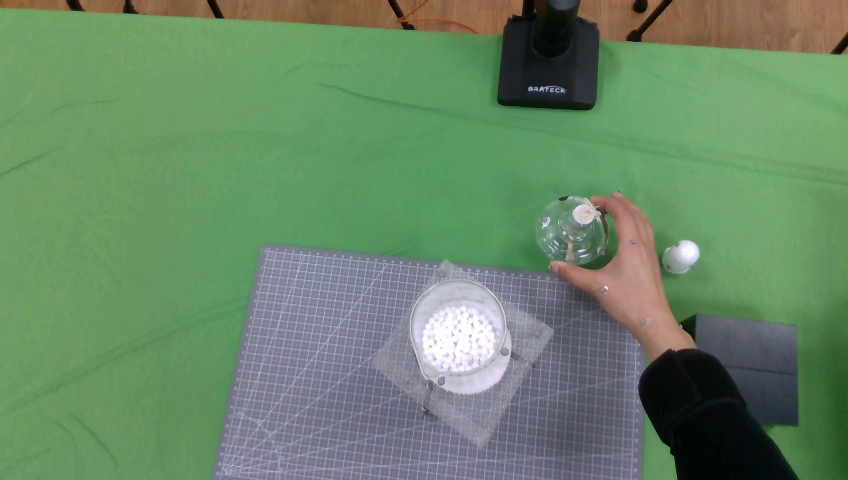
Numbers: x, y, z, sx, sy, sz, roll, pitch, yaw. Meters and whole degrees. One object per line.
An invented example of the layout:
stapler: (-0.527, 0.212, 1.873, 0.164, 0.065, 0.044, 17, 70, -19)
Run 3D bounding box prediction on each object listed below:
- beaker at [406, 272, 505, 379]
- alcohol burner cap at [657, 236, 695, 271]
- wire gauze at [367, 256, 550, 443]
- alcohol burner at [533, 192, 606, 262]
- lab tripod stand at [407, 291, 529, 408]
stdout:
beaker: (0.024, 0.078, 0.499, 0.073, 0.101, 0.084, 30, 77, 12)
alcohol burner cap: (0.280, 0.013, 0.670, 0.034, 0.048, 0.033, -1, 74, 5)
wire gauze: (0.031, 0.094, 0.544, 0.124, 0.011, 0.121, 35, 80, 9)
alcohol burner: (0.156, -0.018, 0.634, 0.078, 0.119, 0.077, 0, 78, 0)
lab tripod stand: (0.038, 0.107, 0.608, 0.148, 0.132, 0.147, -1, 73, 2)
